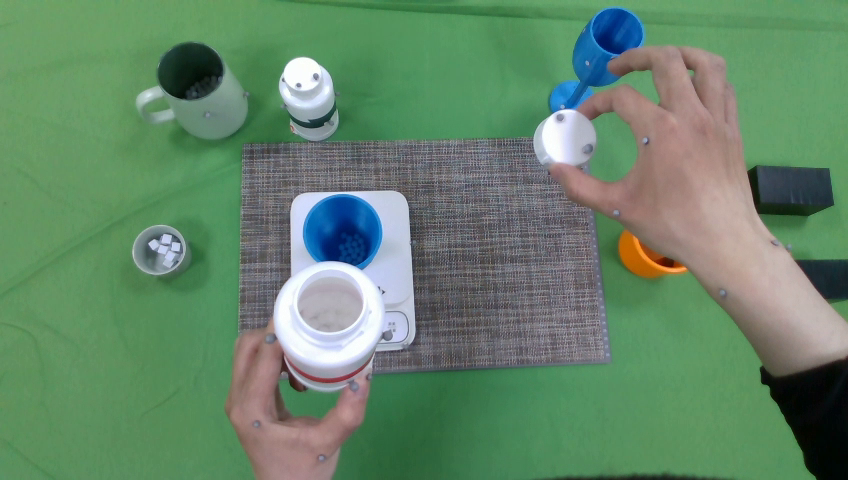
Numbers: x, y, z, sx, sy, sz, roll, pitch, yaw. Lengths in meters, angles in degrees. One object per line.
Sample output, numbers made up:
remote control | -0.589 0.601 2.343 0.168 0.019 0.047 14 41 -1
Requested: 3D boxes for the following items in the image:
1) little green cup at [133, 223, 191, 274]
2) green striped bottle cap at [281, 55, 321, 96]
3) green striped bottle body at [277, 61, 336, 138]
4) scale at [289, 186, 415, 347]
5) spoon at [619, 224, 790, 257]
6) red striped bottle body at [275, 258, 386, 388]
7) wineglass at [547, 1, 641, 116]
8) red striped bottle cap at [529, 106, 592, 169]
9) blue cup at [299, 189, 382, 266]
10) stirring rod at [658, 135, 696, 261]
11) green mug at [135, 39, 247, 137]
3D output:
little green cup | -0.314 0.013 0.735 0.061 0.039 0.061 1 77 -5
green striped bottle cap | -0.142 -0.191 0.698 0.044 0.020 0.044 1 75 -4
green striped bottle body | -0.144 -0.178 0.749 0.063 0.119 0.063 1 76 -3
scale | -0.090 0.032 0.746 0.149 0.031 0.200 -3 78 -4
spoon | 0.327 0.005 0.725 0.022 0.192 0.041 18 81 -44
red striped bottle body | -0.058 0.052 0.373 0.063 0.120 0.062 3 68 -8
wineglass | 0.206 -0.217 0.754 0.074 0.173 0.073 1 77 -3
red striped bottle cap | 0.100 -0.075 0.442 0.045 0.017 0.044 2 82 -16
blue cup | -0.092 -0.003 0.687 0.093 0.100 0.092 1 79 -6
stirring rod | 0.306 -0.046 0.735 0.014 0.178 0.006 3 36 10
green mug | -0.290 -0.178 0.747 0.125 0.105 0.092 -24 80 -8
